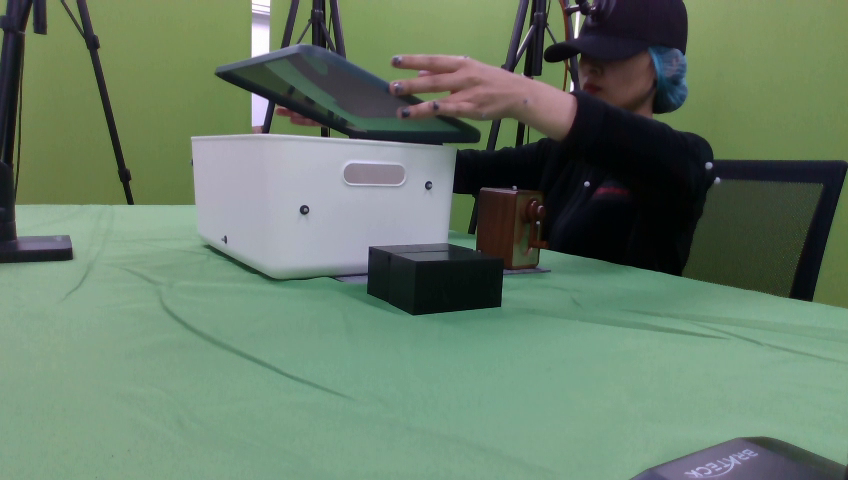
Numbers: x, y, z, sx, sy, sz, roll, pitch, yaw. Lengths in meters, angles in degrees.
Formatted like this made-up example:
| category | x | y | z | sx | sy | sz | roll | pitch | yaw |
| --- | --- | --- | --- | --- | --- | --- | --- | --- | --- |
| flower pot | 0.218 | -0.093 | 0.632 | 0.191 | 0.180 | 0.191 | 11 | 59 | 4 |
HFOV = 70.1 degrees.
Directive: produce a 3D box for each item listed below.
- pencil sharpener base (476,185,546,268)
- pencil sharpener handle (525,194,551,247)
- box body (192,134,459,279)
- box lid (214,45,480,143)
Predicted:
| category | x | y | z | sx | sy | sz | roll | pitch | yaw |
| --- | --- | --- | --- | --- | --- | --- | --- | --- | --- |
| pencil sharpener base | 0.119 | -0.019 | 0.824 | 0.062 | 0.107 | 0.076 | -3 | 9 | -40 |
| pencil sharpener handle | 0.153 | -0.025 | 0.784 | 0.036 | 0.067 | 0.030 | 0 | 8 | -41 |
| box body | -0.154 | -0.059 | 0.840 | 0.255 | 0.160 | 0.362 | -2 | 9 | -33 |
| box lid | -0.119 | -0.186 | 0.830 | 0.265 | 0.015 | 0.369 | 19 | -2 | -35 |
